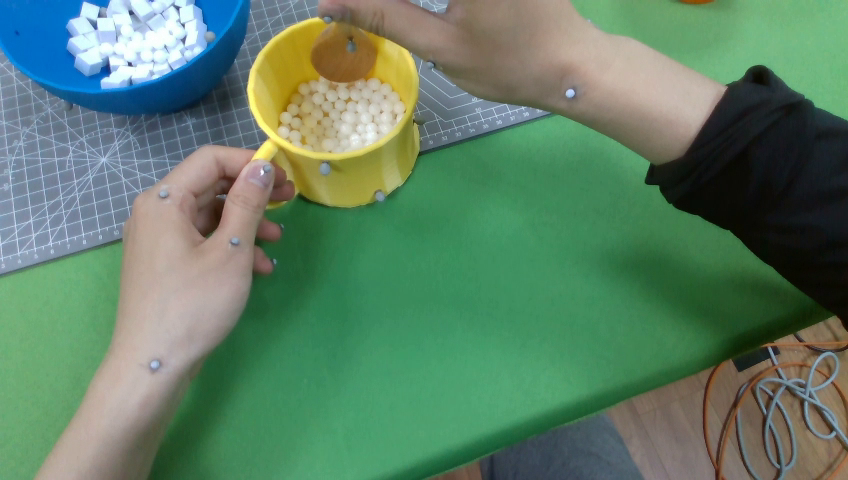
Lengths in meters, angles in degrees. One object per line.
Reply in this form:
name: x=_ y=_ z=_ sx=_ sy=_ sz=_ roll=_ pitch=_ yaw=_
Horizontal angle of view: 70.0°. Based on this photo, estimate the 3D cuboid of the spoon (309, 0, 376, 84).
spoon: x=-0.041 y=-0.116 z=0.306 sx=0.042 sy=0.193 sz=0.021 roll=-5 pitch=90 yaw=-8

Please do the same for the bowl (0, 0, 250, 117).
bowl: x=-0.181 y=-0.135 z=0.393 sx=0.151 sy=0.077 sz=0.150 roll=0 pitch=69 yaw=-1

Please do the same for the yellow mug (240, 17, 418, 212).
yellow mug: x=-0.064 y=-0.067 z=0.376 sx=0.099 sy=0.064 sz=0.130 roll=38 pitch=73 yaw=13
